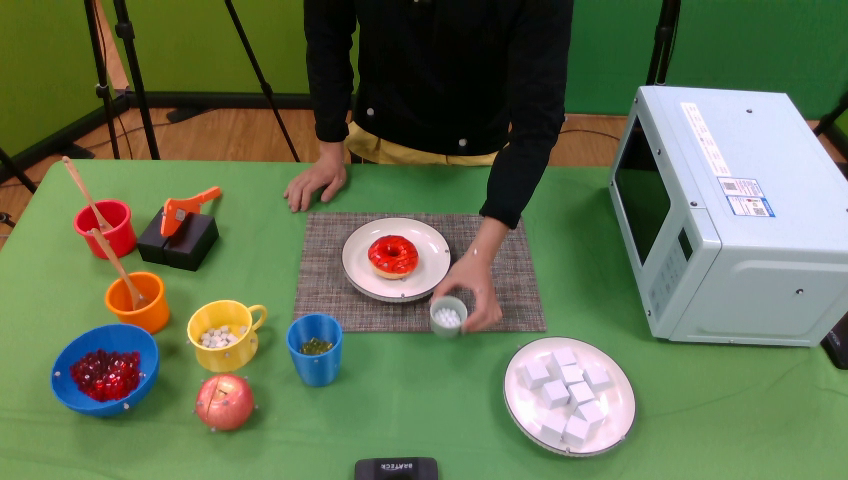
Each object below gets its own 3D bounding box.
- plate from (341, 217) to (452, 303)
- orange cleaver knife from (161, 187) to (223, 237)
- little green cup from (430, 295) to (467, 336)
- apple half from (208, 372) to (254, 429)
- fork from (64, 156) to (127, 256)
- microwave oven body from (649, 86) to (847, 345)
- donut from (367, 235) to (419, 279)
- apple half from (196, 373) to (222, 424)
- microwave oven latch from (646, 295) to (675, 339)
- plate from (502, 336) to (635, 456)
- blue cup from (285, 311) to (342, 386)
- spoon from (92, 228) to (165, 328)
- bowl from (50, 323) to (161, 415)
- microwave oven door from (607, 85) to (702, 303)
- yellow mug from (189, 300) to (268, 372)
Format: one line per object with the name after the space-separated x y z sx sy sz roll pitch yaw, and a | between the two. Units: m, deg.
-0.052 0.040 1.140 0.209 0.038 0.208 2 46 -2 | plate
-0.448 -0.058 1.180 0.012 0.077 0.211 13 17 6 | orange cleaver knife
0.038 0.126 0.994 0.061 0.039 0.061 5 50 -5 | little green cup
-0.282 0.244 0.908 0.053 0.075 0.080 7 43 -1 | apple half
-0.614 -0.064 1.130 0.028 0.018 0.207 -30 97 -17 | fork
0.568 -0.053 1.118 0.326 0.261 0.439 2 45 -1 | microwave oven body
-0.057 0.032 1.131 0.099 0.048 0.098 3 45 -3 | donut
-0.322 0.239 0.906 0.033 0.081 0.081 7 46 0 | apple half
0.412 0.134 1.061 0.030 0.029 0.078 4 45 1 | microwave oven latch
0.225 0.248 0.963 0.208 0.039 0.206 2 46 -2 | plate
-0.170 0.180 0.958 0.093 0.101 0.092 2 44 -1 | blue cup
-0.496 0.063 1.014 0.041 0.194 0.021 -33 12 -30 | spoon
-0.472 0.209 0.924 0.151 0.077 0.150 3 45 -2 | bowl
0.424 -0.094 1.140 0.039 0.245 0.353 2 46 -1 | microwave oven door
-0.315 0.149 1.001 0.131 0.064 0.099 -32 55 -31 | yellow mug
